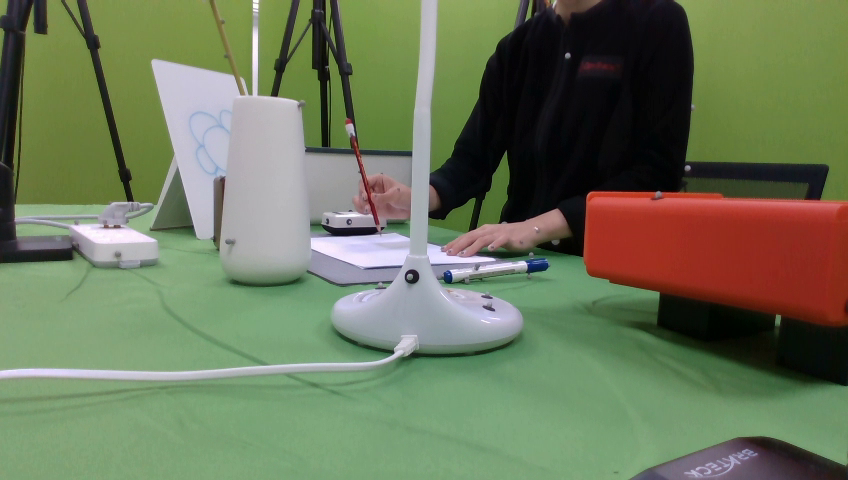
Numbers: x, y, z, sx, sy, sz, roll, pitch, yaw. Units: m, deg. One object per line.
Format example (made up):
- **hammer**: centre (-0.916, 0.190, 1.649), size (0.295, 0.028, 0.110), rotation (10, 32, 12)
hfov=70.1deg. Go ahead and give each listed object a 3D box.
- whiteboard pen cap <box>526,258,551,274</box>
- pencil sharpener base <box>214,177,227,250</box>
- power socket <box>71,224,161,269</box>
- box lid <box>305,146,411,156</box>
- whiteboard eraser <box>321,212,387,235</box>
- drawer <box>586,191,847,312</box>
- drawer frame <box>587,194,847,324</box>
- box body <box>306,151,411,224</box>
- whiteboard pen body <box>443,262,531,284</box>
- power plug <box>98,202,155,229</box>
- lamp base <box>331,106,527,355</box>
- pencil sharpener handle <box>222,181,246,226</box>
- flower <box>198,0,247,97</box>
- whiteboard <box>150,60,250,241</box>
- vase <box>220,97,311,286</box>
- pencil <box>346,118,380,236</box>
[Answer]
- **whiteboard pen cap**: centre (0.141, 0.033, 0.759), size (0.033, 0.018, 0.018), rotation (-8, 11, -26)
- **pencil sharpener base**: centre (-0.265, -0.036, 0.870), size (0.061, 0.107, 0.076), rotation (-2, 8, -29)
- **power socket**: centre (-0.408, 0.004, 0.793), size (0.072, 0.032, 0.225), rotation (-2, 8, -38)
- **box lid**: centre (-0.229, -0.200, 1.360), size (0.373, 0.015, 0.262), rotation (-3, 9, -33)
- **whiteboard eraser**: centre (-0.128, -0.031, 1.108), size (0.113, 0.042, 0.055), rotation (-3, 7, -38)
- **drawer**: centre (0.281, 0.001, 0.513), size (0.195, 0.073, 0.210), rotation (-1, 8, -29)
- **drawer frame**: centre (0.286, 0.004, 0.508), size (0.203, 0.082, 0.212), rotation (-1, 6, -30)
- **box body**: centre (-0.230, -0.126, 1.371), size (0.366, 0.160, 0.253), rotation (-2, 8, -33)
- **whiteboard pen body**: centre (0.087, 0.038, 0.734), size (0.141, 0.017, 0.017), rotation (-5, 10, -27)
- **power plug**: centre (-0.416, -0.027, 0.848), size (0.073, 0.052, 0.035), rotation (0, 8, -28)
- **lamp base**: centre (0.006, -0.012, 0.478), size (0.161, 0.180, 0.179), rotation (2, 10, 2)
- **pencil sharpener handle**: centre (-0.289, -0.055, 0.912), size (0.036, 0.067, 0.030), rotation (-3, 9, -29)
- **flower**: centre (-0.187, -0.133, 0.648), size (0.038, 0.362, 0.044), rotation (-1, 22, 43)
- **whiteboard**: centre (-0.408, -0.139, 1.093), size (0.143, 0.305, 0.218), rotation (-15, -1, 26)
- **vase**: centre (-0.172, -0.052, 0.662), size (0.098, 0.200, 0.098), rotation (3, 8, 0)
- **pencil**: centre (-0.094, -0.099, 0.952), size (0.012, 0.194, 0.012), rotation (-15, -3, 0)
